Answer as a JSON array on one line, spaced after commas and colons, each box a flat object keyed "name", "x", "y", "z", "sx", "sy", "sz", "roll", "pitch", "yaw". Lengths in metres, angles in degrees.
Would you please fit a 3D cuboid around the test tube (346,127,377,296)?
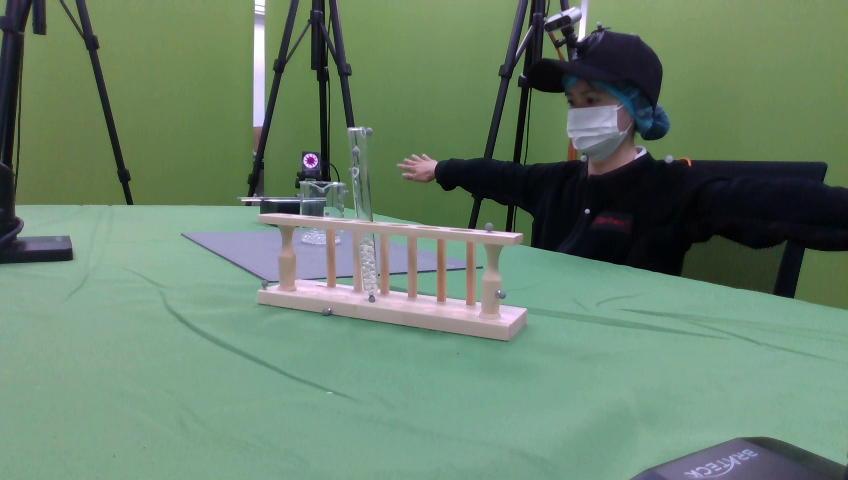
[{"name": "test tube", "x": -0.054, "y": -0.023, "z": 0.529, "sx": 0.017, "sy": 0.150, "sz": 0.017, "roll": -4, "pitch": 12, "yaw": 1}]

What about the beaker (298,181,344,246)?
[{"name": "beaker", "x": -0.166, "y": -0.043, "z": 0.972, "sx": 0.074, "sy": 0.100, "sz": 0.084, "roll": 1, "pitch": 8, "yaw": -10}]

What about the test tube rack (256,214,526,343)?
[{"name": "test tube rack", "x": -0.032, "y": 0.027, "z": 0.547, "sx": 0.241, "sy": 0.085, "sz": 0.067, "roll": 6, "pitch": 7, "yaw": 22}]

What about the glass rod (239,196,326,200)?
[{"name": "glass rod", "x": -0.287, "y": -0.087, "z": 1.250, "sx": 0.201, "sy": 0.008, "sz": 0.008, "roll": -4, "pitch": 10, "yaw": -42}]
